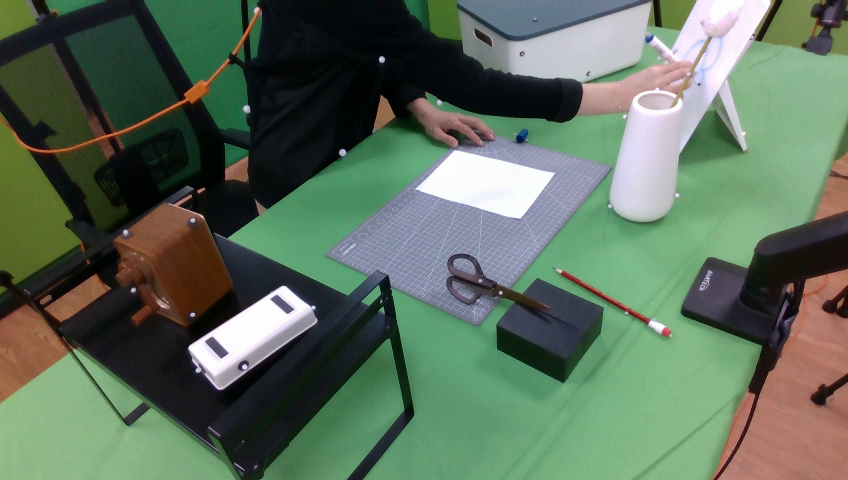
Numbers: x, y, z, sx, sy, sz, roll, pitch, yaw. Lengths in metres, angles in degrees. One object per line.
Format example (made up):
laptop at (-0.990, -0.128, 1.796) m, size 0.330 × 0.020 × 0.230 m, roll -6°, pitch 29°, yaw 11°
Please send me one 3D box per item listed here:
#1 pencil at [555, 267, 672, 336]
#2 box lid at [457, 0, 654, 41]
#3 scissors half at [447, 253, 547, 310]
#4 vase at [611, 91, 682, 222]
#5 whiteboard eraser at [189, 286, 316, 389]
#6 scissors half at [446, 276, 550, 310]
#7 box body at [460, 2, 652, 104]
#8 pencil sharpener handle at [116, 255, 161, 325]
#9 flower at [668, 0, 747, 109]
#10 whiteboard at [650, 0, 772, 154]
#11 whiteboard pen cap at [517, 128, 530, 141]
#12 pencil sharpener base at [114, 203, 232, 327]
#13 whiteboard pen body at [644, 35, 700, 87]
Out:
pencil at (0.261, 0.082, 0.851) m, size 0.012 × 0.012 × 0.192 m, roll -33°, pitch 45°, yaw -27°
box lid at (0.285, -0.522, 1.323) m, size 0.373 × 0.015 × 0.261 m, roll -21°, pitch 43°, yaw -16°
scissors half at (0.098, 0.058, 0.821) m, size 0.173 × 0.040 × 0.013 m, roll 27°, pitch 33°, yaw 36°
vase at (0.348, -0.125, 0.936) m, size 0.098 × 0.201 × 0.097 m, roll -3°, pitch 40°, yaw 3°
whiteboard eraser at (-0.166, 0.096, 0.593) m, size 0.113 × 0.042 × 0.055 m, roll -36°, pitch 46°, yaw -29°
scissors half at (0.098, 0.077, 0.827) m, size 0.174 × 0.040 × 0.013 m, roll 6°, pitch 14°, yaw 44°
box body at (0.291, -0.465, 1.371) m, size 0.365 × 0.161 × 0.252 m, roll -22°, pitch 42°, yaw -16°
pencil sharpener handle at (-0.286, 0.050, 0.594) m, size 0.035 × 0.068 × 0.031 m, roll 7°, pitch 41°, yaw 35°
flower at (0.355, -0.187, 0.879) m, size 0.038 × 0.362 × 0.044 m, roll 30°, pitch 48°, yaw 14°
whiteboard at (0.543, -0.298, 1.076) m, size 0.144 × 0.305 × 0.216 m, roll 12°, pitch 40°, yaw -7°
whiteboard pen cap at (0.195, -0.207, 1.192) m, size 0.018 × 0.018 × 0.033 m, roll 14°, pitch 40°, yaw 23°
pencil sharpener base at (-0.261, 0.029, 0.635) m, size 0.061 × 0.107 × 0.077 m, roll 18°, pitch 47°, yaw 27°
whiteboard pen body at (0.416, -0.295, 1.006) m, size 0.142 × 0.017 × 0.017 m, roll 29°, pitch 33°, yaw -25°
